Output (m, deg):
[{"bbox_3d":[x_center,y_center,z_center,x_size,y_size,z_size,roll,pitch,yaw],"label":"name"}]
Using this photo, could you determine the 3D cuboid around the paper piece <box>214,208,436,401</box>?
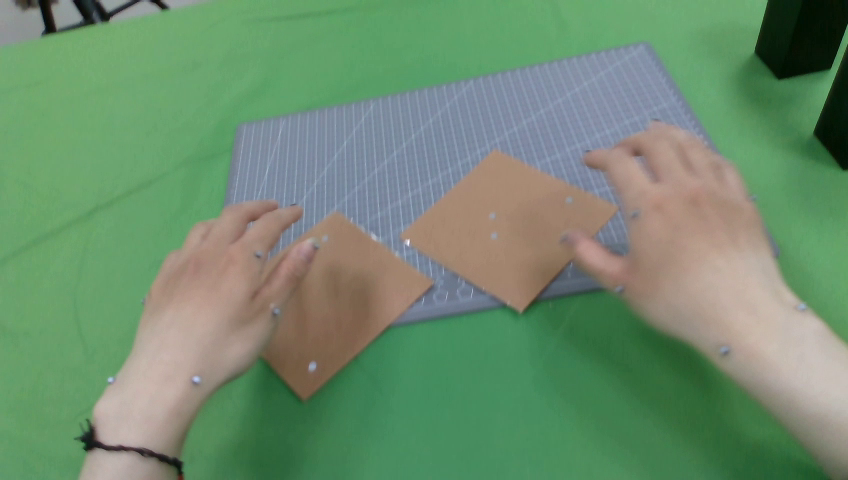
[{"bbox_3d":[-0.083,0.043,0.495,0.138,0.009,0.134,-40,51,-19],"label":"paper piece"}]

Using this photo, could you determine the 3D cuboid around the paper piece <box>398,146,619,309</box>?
[{"bbox_3d":[0.070,-0.018,0.509,0.134,0.004,0.135,31,62,34],"label":"paper piece"}]
